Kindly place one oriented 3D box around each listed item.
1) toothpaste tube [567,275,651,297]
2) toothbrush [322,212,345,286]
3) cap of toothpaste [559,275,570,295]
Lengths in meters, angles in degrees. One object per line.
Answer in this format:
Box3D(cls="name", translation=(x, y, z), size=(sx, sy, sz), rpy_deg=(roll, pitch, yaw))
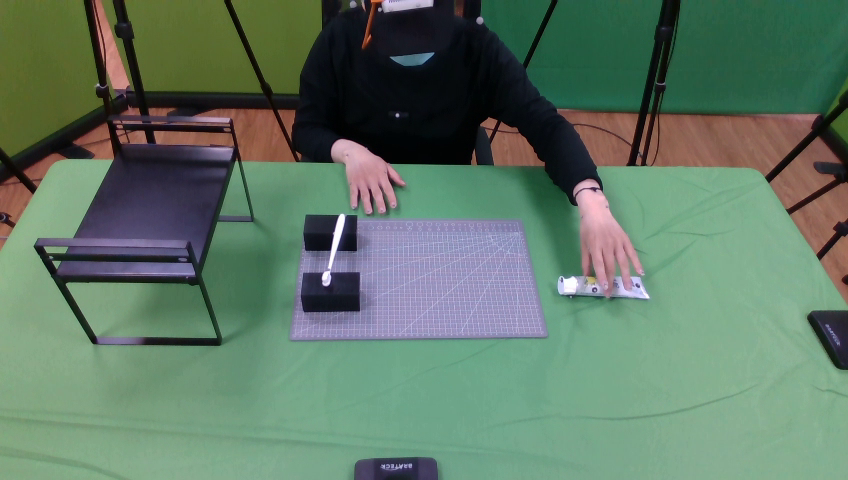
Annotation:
Box3D(cls="toothpaste tube", translation=(0.339, 0.085, 1.132), size=(0.165, 0.035, 0.054), rpy_deg=(0, 50, -9))
Box3D(cls="toothbrush", translation=(-0.164, 0.011, 1.101), size=(0.014, 0.017, 0.181), rpy_deg=(-6, 44, 12))
Box3D(cls="cap of toothpaste", translation=(0.261, 0.083, 1.120), size=(0.011, 0.037, 0.037), rpy_deg=(0, 47, -9))
